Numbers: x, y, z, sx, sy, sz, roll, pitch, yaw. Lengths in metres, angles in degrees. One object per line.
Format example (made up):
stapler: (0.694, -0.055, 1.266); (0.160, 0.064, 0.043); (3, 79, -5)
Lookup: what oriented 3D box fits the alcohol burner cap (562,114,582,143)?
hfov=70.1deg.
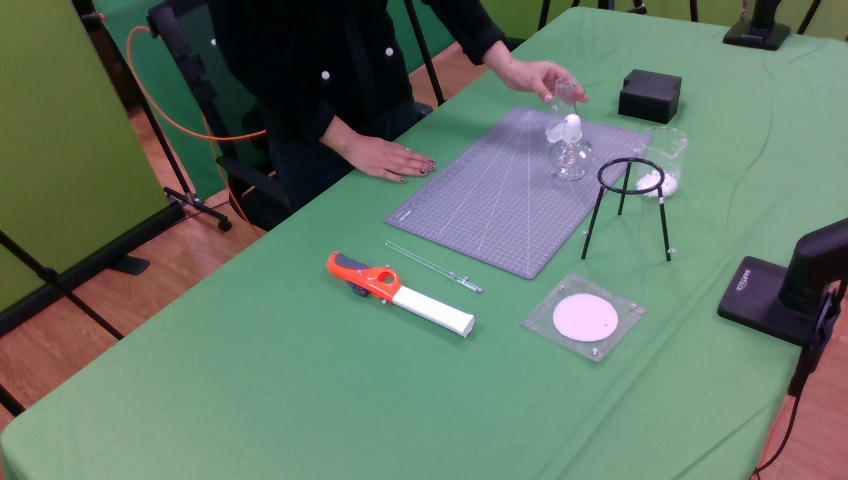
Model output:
alcohol burner cap: (0.254, -0.192, 1.030); (0.034, 0.048, 0.033); (-5, 50, 6)

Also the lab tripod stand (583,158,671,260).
lab tripod stand: (0.300, -0.046, 0.895); (0.148, 0.132, 0.147); (-7, 38, 6)

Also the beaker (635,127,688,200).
beaker: (0.388, -0.122, 0.994); (0.074, 0.101, 0.083); (-8, 40, 2)

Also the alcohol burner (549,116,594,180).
alcohol burner: (0.258, -0.166, 1.055); (0.078, 0.120, 0.077); (-6, 42, 6)

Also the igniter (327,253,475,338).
igniter: (-0.045, 0.077, 0.898); (0.274, 0.025, 0.057); (22, 60, 32)

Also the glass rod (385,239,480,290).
glass rod: (0.009, 0.037, 0.950); (0.198, 0.008, 0.008); (26, 52, 34)

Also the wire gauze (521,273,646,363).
wire gauze: (0.219, 0.105, 0.830); (0.120, 0.011, 0.125); (28, 54, 37)

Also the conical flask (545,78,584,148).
conical flask: (0.264, -0.241, 1.135); (0.075, 0.122, 0.075); (-6, 40, 5)
